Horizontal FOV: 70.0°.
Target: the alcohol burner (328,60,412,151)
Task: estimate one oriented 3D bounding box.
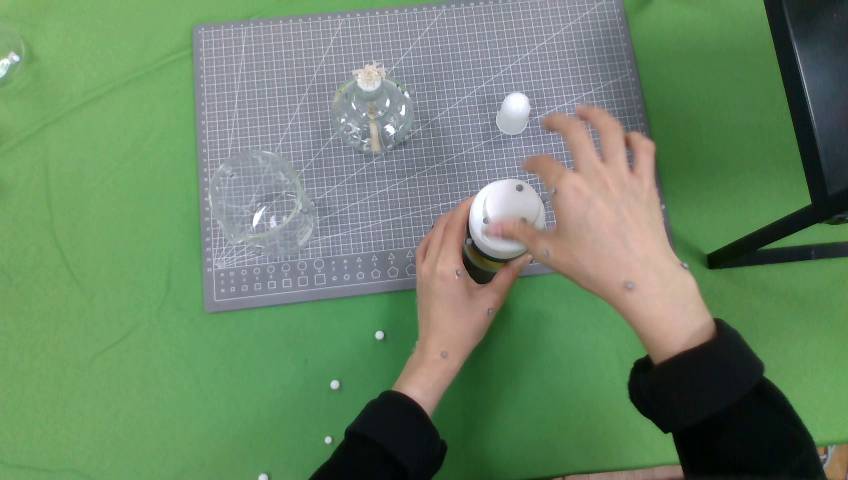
[{"bbox_3d":[-0.050,-0.128,0.553,0.078,0.119,0.077,1,76,-3],"label":"alcohol burner"}]

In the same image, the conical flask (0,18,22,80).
[{"bbox_3d":[-0.443,-0.202,0.557,0.075,0.122,0.075,0,77,-1],"label":"conical flask"}]

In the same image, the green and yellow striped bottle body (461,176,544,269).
[{"bbox_3d":[0.067,-0.015,0.528,0.063,0.120,0.063,0,77,-1],"label":"green and yellow striped bottle body"}]

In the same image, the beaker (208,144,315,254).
[{"bbox_3d":[-0.139,-0.028,0.536,0.074,0.100,0.083,22,78,4],"label":"beaker"}]

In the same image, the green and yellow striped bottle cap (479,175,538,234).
[{"bbox_3d":[0.066,-0.028,0.475,0.045,0.020,0.045,0,78,-2],"label":"green and yellow striped bottle cap"}]

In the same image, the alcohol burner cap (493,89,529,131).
[{"bbox_3d":[0.087,-0.130,0.593,0.034,0.048,0.033,0,77,-1],"label":"alcohol burner cap"}]
